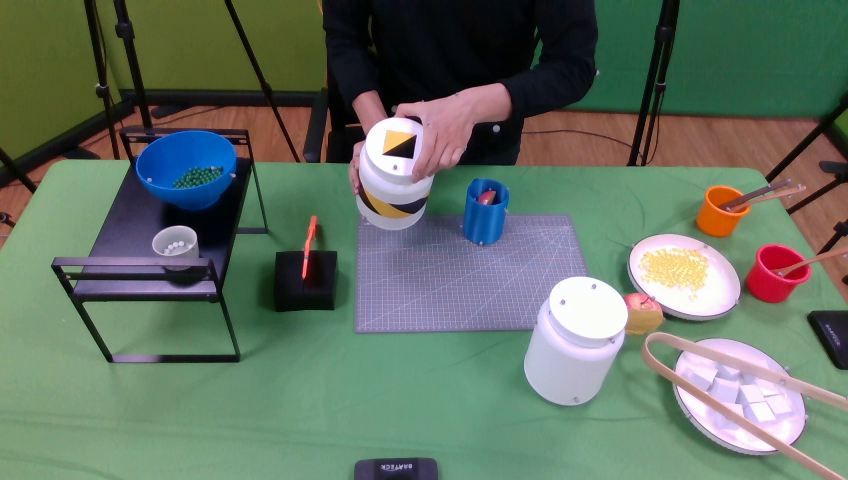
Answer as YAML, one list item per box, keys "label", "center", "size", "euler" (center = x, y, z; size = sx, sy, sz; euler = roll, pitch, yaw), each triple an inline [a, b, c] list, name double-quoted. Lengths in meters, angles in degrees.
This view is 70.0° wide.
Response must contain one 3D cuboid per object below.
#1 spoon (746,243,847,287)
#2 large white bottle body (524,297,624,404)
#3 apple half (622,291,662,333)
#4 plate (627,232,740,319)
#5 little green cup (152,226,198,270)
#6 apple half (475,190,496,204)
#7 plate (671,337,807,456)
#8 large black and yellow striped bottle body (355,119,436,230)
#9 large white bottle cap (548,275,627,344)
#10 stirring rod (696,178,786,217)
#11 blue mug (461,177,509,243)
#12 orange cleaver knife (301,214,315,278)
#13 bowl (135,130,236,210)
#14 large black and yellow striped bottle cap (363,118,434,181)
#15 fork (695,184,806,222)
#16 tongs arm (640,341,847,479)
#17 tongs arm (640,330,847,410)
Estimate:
- label: "spoon"
  center: [0.702, 0.043, 1.126]
  size: [0.194, 0.022, 0.041]
  euler: [-29, 38, 30]
- label: "large white bottle body"
  center: [0.235, 0.159, 0.952]
  size: [0.131, 0.185, 0.130]
  euler: [2, 47, -2]
- label: "apple half"
  center: [0.372, 0.123, 1.074]
  size: [0.081, 0.075, 0.053]
  euler: [0, 43, 1]
- label: "plate"
  center: [0.489, 0.070, 1.157]
  size: [0.209, 0.038, 0.208]
  euler: [3, 46, -3]
- label: "little green cup"
  center: [-0.364, 0.013, 0.894]
  size: [0.061, 0.039, 0.061]
  euler: [3, 47, -3]
- label: "apple half"
  center: [0.109, -0.067, 1.199]
  size: [0.032, 0.081, 0.081]
  euler: [29, 51, 12]
- label: "plate"
  center: [0.504, 0.254, 0.984]
  size: [0.208, 0.039, 0.206]
  euler: [2, 46, -2]
- label: "large black and yellow striped bottle body"
  center: [-0.052, -0.113, 1.057]
  size: [0.131, 0.184, 0.130]
  euler: [4, 64, -8]
- label: "large white bottle cap"
  center: [0.240, 0.100, 0.890]
  size: [0.115, 0.018, 0.114]
  euler: [3, 47, -3]
- label: "stirring rod"
  center: [0.648, -0.087, 1.244]
  size: [0.176, 0.006, 0.014]
  euler: [-25, 50, 29]
- label: "blue mug"
  center: [0.114, -0.069, 1.211]
  size: [0.082, 0.106, 0.115]
  euler: [-12, 48, -15]
- label: "orange cleaver knife"
  center: [-0.217, 0.007, 1.131]
  size: [0.012, 0.077, 0.210]
  euler: [7, 19, -9]
- label: "bowl"
  center: [-0.375, -0.102, 0.978]
  size: [0.151, 0.077, 0.150]
  euler: [2, 46, -2]
- label: "large black and yellow striped bottle cap"
  center: [-0.041, -0.148, 0.981]
  size: [0.115, 0.019, 0.114]
  euler: [4, 63, -8]
- label: "fork"
  center: [0.658, -0.074, 1.229]
  size: [0.207, 0.019, 0.028]
  euler: [-23, 34, 36]
- label: "tongs arm"
  center: [0.500, 0.277, 0.920]
  size: [0.386, 0.028, 0.028]
  euler: [34, 59, 22]
- label: "tongs arm"
  center: [0.543, 0.225, 0.969]
  size: [0.384, 0.026, 0.050]
  euler: [22, 52, 13]
